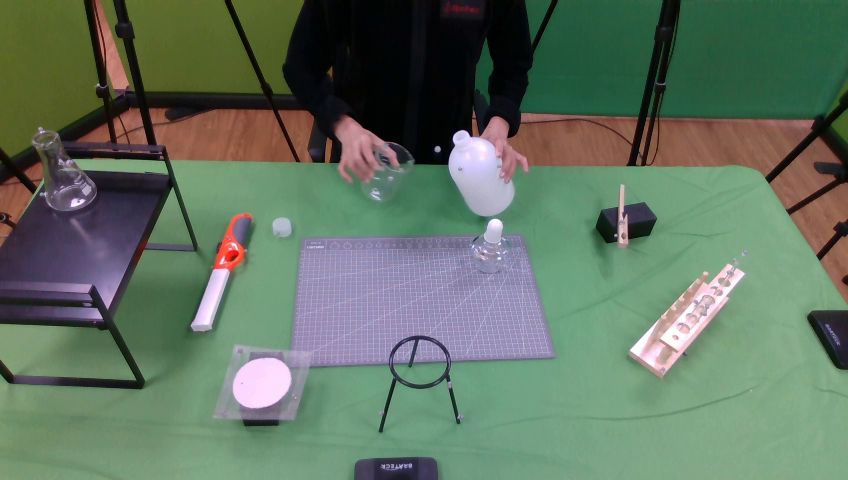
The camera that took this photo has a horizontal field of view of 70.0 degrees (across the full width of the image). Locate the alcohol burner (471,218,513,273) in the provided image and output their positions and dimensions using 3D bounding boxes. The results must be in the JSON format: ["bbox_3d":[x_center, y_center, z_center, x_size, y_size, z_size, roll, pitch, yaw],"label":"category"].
[{"bbox_3d":[0.128,0.005,1.132,0.078,0.120,0.077,1,47,0],"label":"alcohol burner"}]

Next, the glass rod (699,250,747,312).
[{"bbox_3d":[0.500,0.074,1.021,0.008,0.201,0.008,0,55,1],"label":"glass rod"}]

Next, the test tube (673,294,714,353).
[{"bbox_3d":[0.428,0.137,0.978,0.017,0.151,0.017,4,47,-4],"label":"test tube"}]

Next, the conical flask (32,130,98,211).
[{"bbox_3d":[-0.565,-0.111,0.944,0.075,0.122,0.075,2,46,-2],"label":"conical flask"}]

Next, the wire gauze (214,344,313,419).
[{"bbox_3d":[-0.241,0.213,0.916,0.121,0.011,0.124,5,46,1],"label":"wire gauze"}]

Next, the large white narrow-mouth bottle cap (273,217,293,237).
[{"bbox_3d":[-0.281,-0.026,1.203,0.038,0.024,0.037,2,46,-2],"label":"large white narrow-mouth bottle cap"}]

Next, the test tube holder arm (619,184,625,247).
[{"bbox_3d":[0.396,-0.053,1.210,0.013,0.015,0.177,14,46,2],"label":"test tube holder arm"}]

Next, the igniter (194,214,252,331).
[{"bbox_3d":[-0.367,0.050,1.119,0.057,0.025,0.275,-4,45,7],"label":"igniter"}]

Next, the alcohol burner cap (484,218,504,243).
[{"bbox_3d":[0.130,-0.021,1.106,0.034,0.048,0.033,3,51,-4],"label":"alcohol burner cap"}]

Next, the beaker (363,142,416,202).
[{"bbox_3d":[-0.069,-0.129,1.169,0.084,0.100,0.073,-2,58,-31],"label":"beaker"}]

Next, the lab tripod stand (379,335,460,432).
[{"bbox_3d":[-0.011,0.214,0.911,0.148,0.132,0.147,1,45,0],"label":"lab tripod stand"}]

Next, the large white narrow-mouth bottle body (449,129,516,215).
[{"bbox_3d":[0.105,-0.139,1.167,0.101,0.196,0.101,-15,51,19],"label":"large white narrow-mouth bottle body"}]

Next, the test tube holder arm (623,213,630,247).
[{"bbox_3d":[0.393,-0.020,1.179,0.010,0.015,0.087,13,46,1],"label":"test tube holder arm"}]

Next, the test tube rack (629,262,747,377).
[{"bbox_3d":[0.464,0.126,1.060,0.242,0.085,0.066,-34,56,-31],"label":"test tube rack"}]
